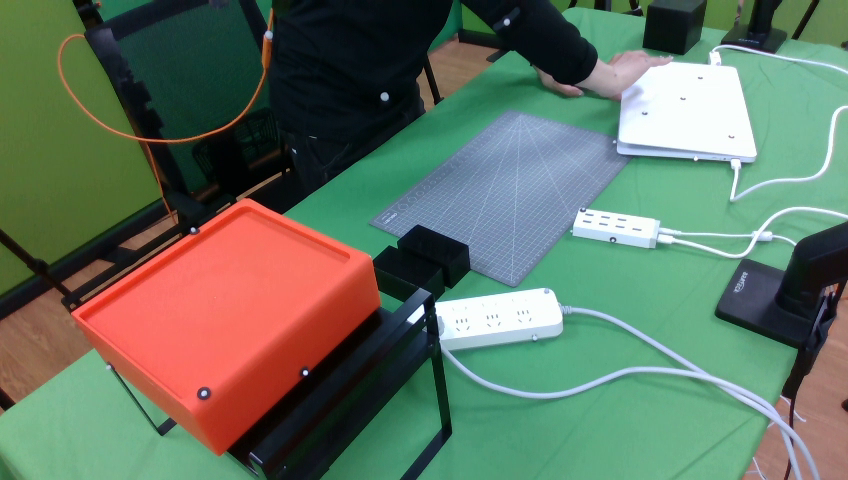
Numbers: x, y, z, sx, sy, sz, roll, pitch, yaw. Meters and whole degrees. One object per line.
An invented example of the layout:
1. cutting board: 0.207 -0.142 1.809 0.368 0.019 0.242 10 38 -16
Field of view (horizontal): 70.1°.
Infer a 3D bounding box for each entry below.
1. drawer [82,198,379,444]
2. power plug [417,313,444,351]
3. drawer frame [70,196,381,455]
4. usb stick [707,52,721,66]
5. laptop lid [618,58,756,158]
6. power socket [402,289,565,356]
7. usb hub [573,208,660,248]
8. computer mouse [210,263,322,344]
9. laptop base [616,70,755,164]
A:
1. drawer: -0.185 0.065 0.600 0.193 0.073 0.212 24 49 31
2. power plug: 0.007 0.127 0.786 0.035 0.053 0.072 0 43 8
3. drawer frame: -0.186 0.068 0.597 0.200 0.083 0.214 23 49 30
4. usb stick: 0.629 -0.382 1.312 0.021 0.027 0.059 4 48 15
5. laptop lid: 0.506 -0.272 1.187 0.241 0.013 0.356 10 43 13
6. power socket: 0.081 0.112 0.822 0.227 0.033 0.072 -7 41 -1
7. usb hub: 0.302 -0.019 0.950 0.124 0.025 0.049 11 43 20
8. computer mouse: -0.165 0.062 0.624 0.116 0.041 0.063 22 44 27
9. laptop base: 0.509 -0.255 1.201 0.234 0.023 0.353 4 42 16
